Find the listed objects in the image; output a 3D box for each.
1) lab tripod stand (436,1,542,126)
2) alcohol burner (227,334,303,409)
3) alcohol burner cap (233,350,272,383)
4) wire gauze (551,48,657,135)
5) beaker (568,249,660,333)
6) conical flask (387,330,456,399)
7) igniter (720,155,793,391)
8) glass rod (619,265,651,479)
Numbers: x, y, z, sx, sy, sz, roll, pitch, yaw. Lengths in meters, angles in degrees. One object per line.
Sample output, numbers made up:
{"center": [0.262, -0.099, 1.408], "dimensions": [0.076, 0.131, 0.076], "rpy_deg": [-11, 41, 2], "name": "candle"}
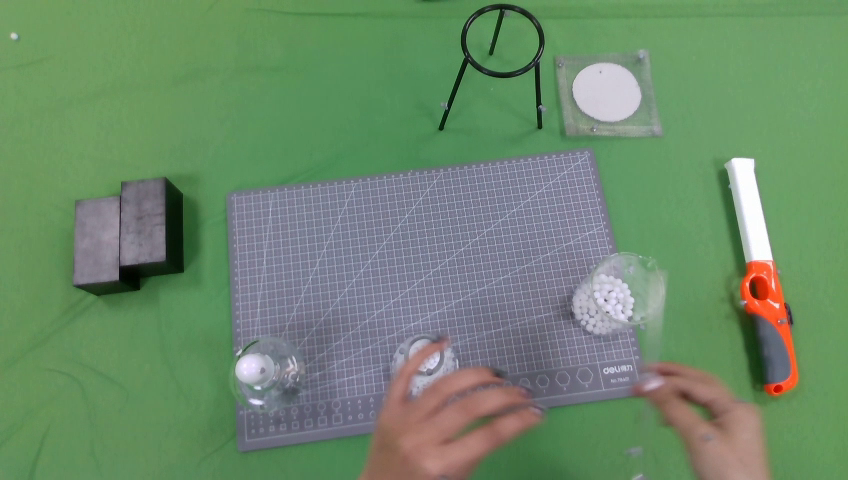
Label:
{"center": [0.079, -0.196, 0.706], "dimensions": [0.148, 0.132, 0.147], "rpy_deg": [0, 76, 0], "name": "lab tripod stand"}
{"center": [-0.166, 0.132, 0.615], "dimensions": [0.078, 0.120, 0.077], "rpy_deg": [-1, 73, 2], "name": "alcohol burner"}
{"center": [-0.166, 0.120, 0.581], "dimensions": [0.034, 0.048, 0.033], "rpy_deg": [1, 77, -4], "name": "alcohol burner cap"}
{"center": [0.229, -0.189, 0.770], "dimensions": [0.125, 0.011, 0.121], "rpy_deg": [-1, 74, -3], "name": "wire gauze"}
{"center": [0.200, 0.057, 0.648], "dimensions": [0.084, 0.101, 0.073], "rpy_deg": [-43, 78, -12], "name": "beaker"}
{"center": [-0.003, 0.121, 0.615], "dimensions": [0.075, 0.122, 0.075], "rpy_deg": [0, 73, 0], "name": "conical flask"}
{"center": [0.381, 0.032, 0.697], "dimensions": [0.057, 0.025, 0.275], "rpy_deg": [1, 74, -11], "name": "igniter"}
{"center": [0.169, 0.116, 0.485], "dimensions": [0.008, 0.008, 0.199], "rpy_deg": [10, 78, 2], "name": "glass rod"}
